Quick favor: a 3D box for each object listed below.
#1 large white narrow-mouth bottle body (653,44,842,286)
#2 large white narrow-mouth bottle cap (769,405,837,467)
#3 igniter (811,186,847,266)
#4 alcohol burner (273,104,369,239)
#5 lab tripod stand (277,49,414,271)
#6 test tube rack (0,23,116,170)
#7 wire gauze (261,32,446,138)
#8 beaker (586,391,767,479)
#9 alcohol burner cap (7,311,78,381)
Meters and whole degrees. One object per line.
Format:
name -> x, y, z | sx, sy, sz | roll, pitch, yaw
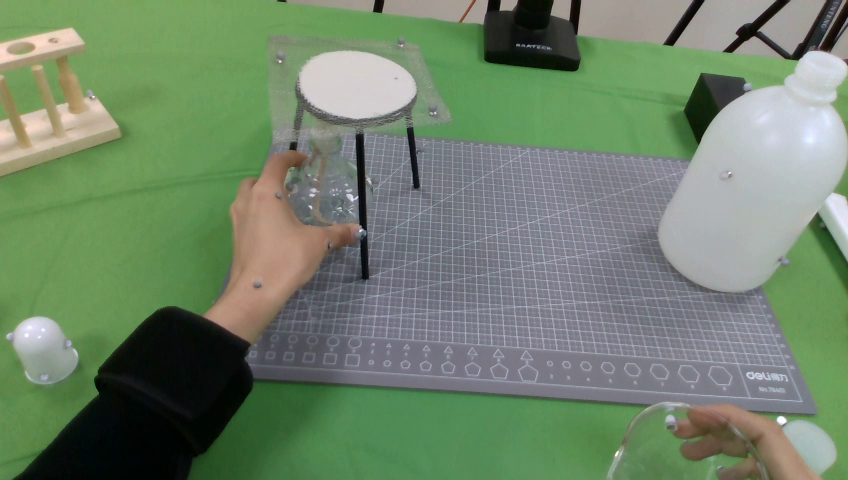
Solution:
large white narrow-mouth bottle body -> 0.260, -0.059, 0.477 | 0.102, 0.196, 0.101 | 3, 46, -3
large white narrow-mouth bottle cap -> 0.261, 0.135, 0.417 | 0.038, 0.024, 0.037 | 3, 46, -3
igniter -> 0.390, 0.050, 0.511 | 0.057, 0.025, 0.274 | 13, 45, -9
alcohol burner -> -0.082, -0.058, 0.488 | 0.078, 0.120, 0.077 | 5, 45, -5
lab tripod stand -> -0.057, -0.071, 0.490 | 0.148, 0.132, 0.147 | 5, 47, -5
test tube rack -> -0.407, -0.102, 0.511 | 0.242, 0.086, 0.066 | -28, 56, -30
wire gauze -> -0.055, -0.119, 0.442 | 0.122, 0.011, 0.123 | -5, 49, -13
beaker -> 0.127, 0.143, 0.338 | 0.084, 0.101, 0.073 | -5, 47, -10
alcohol burner cap -> -0.253, 0.068, 0.399 | 0.034, 0.048, 0.033 | 5, 46, -5
